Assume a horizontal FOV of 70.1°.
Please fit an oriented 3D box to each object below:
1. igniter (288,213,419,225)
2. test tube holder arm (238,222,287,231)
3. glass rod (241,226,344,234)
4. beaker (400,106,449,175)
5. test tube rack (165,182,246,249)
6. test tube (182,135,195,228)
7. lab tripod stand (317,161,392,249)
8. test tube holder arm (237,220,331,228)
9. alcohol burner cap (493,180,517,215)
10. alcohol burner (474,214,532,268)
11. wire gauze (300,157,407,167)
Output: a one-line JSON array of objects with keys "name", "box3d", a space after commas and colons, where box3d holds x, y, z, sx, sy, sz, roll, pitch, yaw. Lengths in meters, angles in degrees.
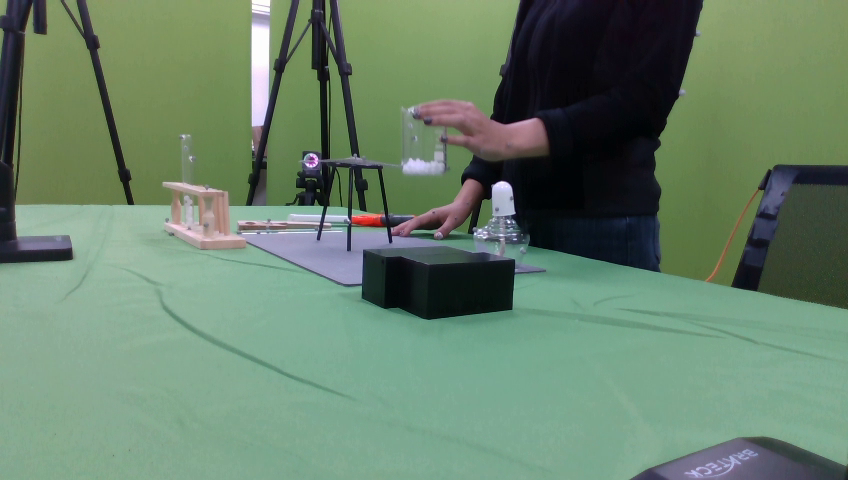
[{"name": "igniter", "box3d": [-0.145, -0.044, 1.278, 0.278, 0.025, 0.057, -1, -2, -21]}, {"name": "test tube holder arm", "box3d": [-0.296, -0.024, 1.112, 0.088, 0.015, 0.010, -2, 41, -32]}, {"name": "glass rod", "box3d": [-0.239, -0.019, 1.119, 0.201, 0.008, 0.008, -3, 9, -34]}, {"name": "beaker", "box3d": [-0.001, -0.148, 0.913, 0.073, 0.100, 0.084, 3, 7, 34]}, {"name": "test tube rack", "box3d": [-0.360, -0.045, 0.983, 0.067, 0.085, 0.241, -3, 9, -34]}, {"name": "test tube", "box3d": [-0.382, -0.095, 0.983, 0.017, 0.150, 0.017, -1, 2, 0]}, {"name": "lab tripod stand", "box3d": [-0.111, -0.059, 0.963, 0.148, 0.131, 0.148, 4, 8, 0]}, {"name": "test tube holder arm", "box3d": [-0.260, -0.029, 1.140, 0.179, 0.015, 0.013, -2, 41, -32]}, {"name": "alcohol burner cap", "box3d": [0.107, -0.057, 0.813, 0.034, 0.048, 0.034, -7, 11, 2]}, {"name": "alcohol burner", "box3d": [0.107, -0.022, 0.819, 0.078, 0.119, 0.078, 1, 9, 0]}, {"name": "wire gauze", "box3d": [-0.112, -0.126, 0.959, 0.121, 0.011, 0.126, 11, 11, 41]}]
